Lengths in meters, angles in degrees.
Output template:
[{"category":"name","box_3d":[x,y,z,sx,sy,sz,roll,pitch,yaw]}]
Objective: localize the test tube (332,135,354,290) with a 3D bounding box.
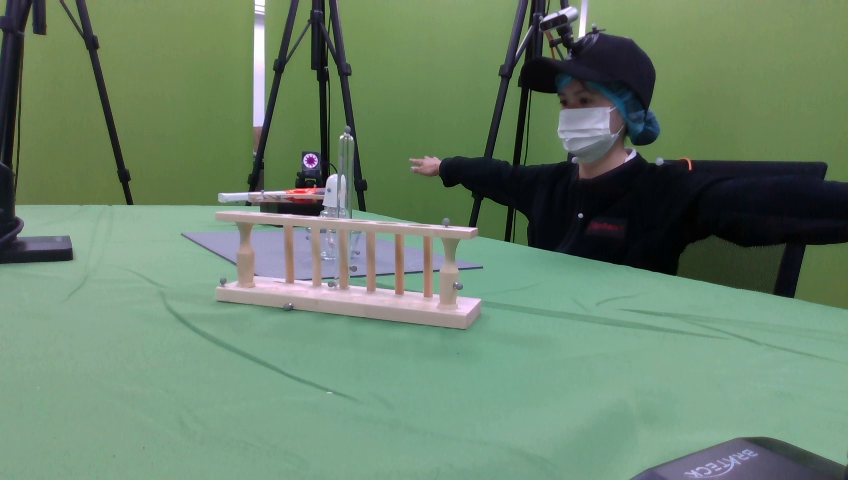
[{"category":"test tube","box_3d":[-0.078,-0.025,0.581,0.017,0.150,0.017,3,7,0]}]

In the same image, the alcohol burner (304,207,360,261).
[{"category":"alcohol burner","box_3d":[-0.126,-0.031,0.838,0.078,0.119,0.078,3,5,0]}]

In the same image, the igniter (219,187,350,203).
[{"category":"igniter","box_3d":[-0.285,-0.095,1.268,0.278,0.025,0.057,-6,11,-34]}]

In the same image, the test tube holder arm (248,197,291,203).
[{"category":"test tube holder arm","box_3d":[-0.303,-0.080,1.191,0.088,0.010,0.015,-7,18,-39]}]

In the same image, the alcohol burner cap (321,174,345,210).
[{"category":"alcohol burner cap","box_3d":[-0.124,-0.067,0.833,0.034,0.048,0.034,7,7,-1]}]

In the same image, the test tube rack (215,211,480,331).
[{"category":"test tube rack","box_3d":[-0.071,0.022,0.565,0.242,0.085,0.067,5,7,16]}]

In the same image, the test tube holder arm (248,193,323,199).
[{"category":"test tube holder arm","box_3d":[-0.268,-0.089,1.218,0.179,0.013,0.015,-6,18,-40]}]
